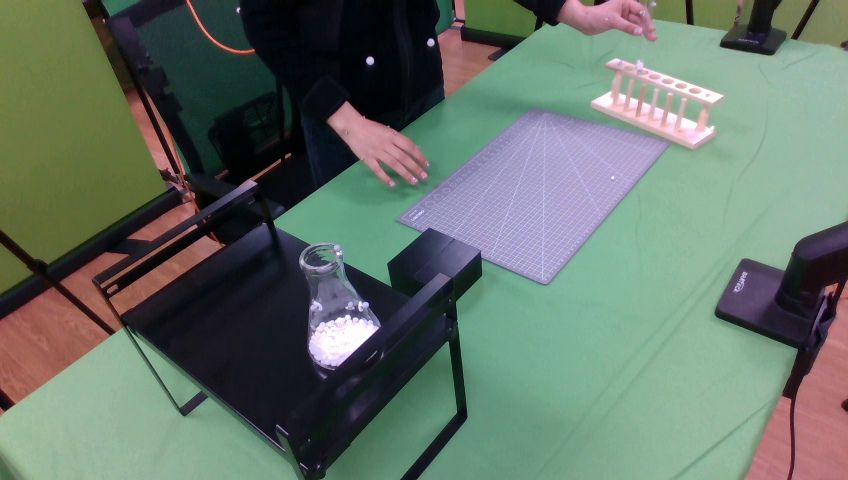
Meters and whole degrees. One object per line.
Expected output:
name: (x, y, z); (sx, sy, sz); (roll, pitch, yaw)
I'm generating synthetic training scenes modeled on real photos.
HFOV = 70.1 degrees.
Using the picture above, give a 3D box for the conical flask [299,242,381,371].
conical flask: (-0.085, 0.059, 0.565); (0.075, 0.122, 0.075); (-4, 41, 4)

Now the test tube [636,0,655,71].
test tube: (0.410, -0.385, 1.119); (0.017, 0.151, 0.017); (-3, 40, 3)

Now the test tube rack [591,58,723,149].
test tube rack: (0.442, -0.269, 1.171); (0.067, 0.085, 0.240); (-31, 46, -23)
